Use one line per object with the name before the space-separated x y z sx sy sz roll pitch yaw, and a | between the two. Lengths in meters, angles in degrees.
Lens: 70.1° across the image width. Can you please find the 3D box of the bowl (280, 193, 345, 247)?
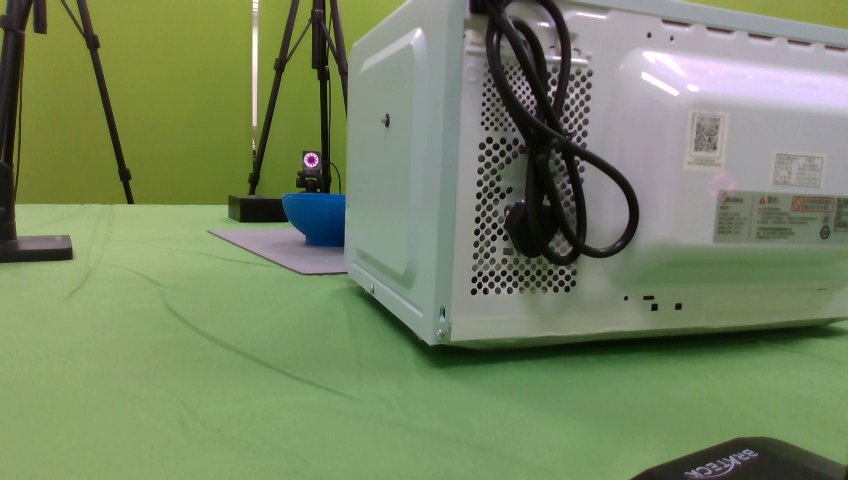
bowl | -0.153 -0.032 0.969 0.151 0.077 0.151 3 7 0

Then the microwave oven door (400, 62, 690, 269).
microwave oven door | 0.153 -0.089 0.759 0.357 0.243 0.039 1 8 -8

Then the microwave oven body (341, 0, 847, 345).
microwave oven body | 0.169 -0.060 0.573 0.444 0.260 0.324 1 7 -20

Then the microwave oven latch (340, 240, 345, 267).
microwave oven latch | -0.052 0.016 0.662 0.079 0.029 0.030 1 7 -18
